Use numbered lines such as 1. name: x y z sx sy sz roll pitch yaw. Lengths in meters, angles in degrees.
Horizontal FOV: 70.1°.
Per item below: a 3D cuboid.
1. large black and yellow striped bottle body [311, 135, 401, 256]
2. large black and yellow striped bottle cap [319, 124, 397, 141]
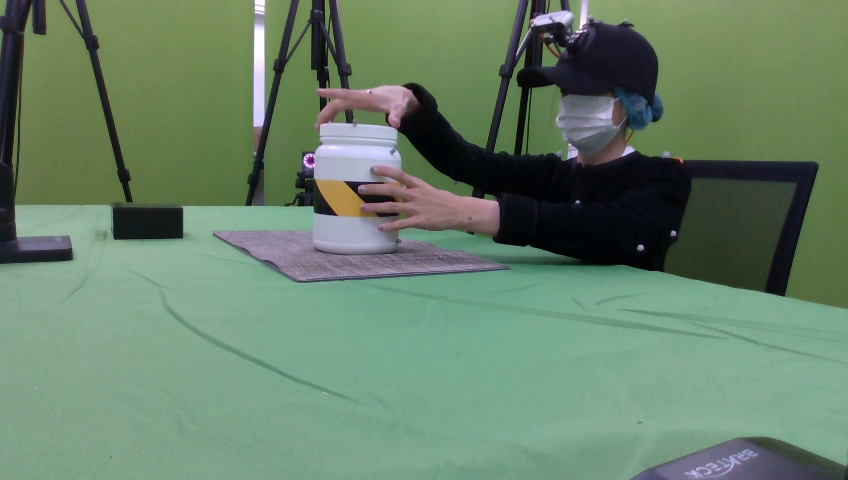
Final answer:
1. large black and yellow striped bottle body: -0.101 -0.075 0.904 0.131 0.184 0.130 3 7 0
2. large black and yellow striped bottle cap: -0.097 -0.158 0.894 0.115 0.019 0.115 4 7 0
